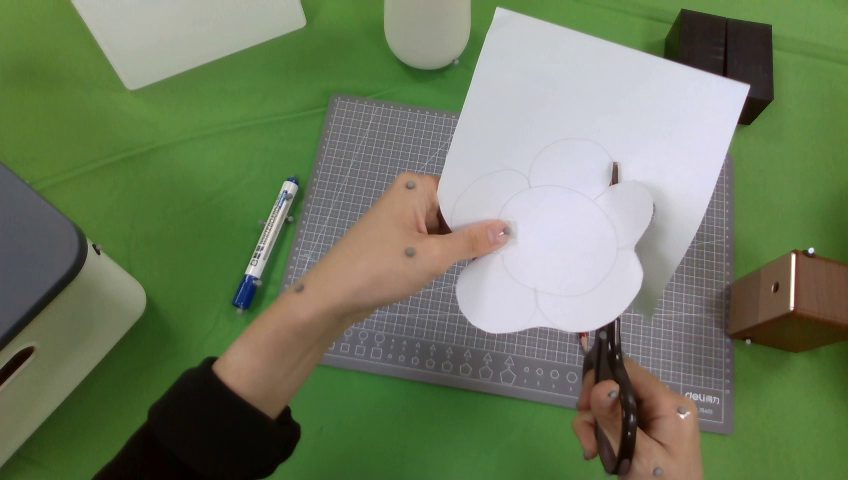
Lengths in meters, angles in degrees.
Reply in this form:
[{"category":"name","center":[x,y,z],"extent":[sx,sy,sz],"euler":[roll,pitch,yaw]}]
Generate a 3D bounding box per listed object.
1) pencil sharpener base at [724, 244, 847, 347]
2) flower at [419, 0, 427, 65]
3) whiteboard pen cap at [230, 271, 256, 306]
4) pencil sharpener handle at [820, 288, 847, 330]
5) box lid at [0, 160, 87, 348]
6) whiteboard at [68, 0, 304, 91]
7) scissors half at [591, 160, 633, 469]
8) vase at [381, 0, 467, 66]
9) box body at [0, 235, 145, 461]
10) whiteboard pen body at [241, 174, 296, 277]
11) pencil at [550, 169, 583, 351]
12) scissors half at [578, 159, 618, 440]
[{"category":"pencil sharpener base","center":[0.340,0.055,0.557],"extent":[0.077,0.107,0.061],"euler":[13,70,1]},{"category":"flower","center":[-0.005,-0.313,0.546],"extent":[0.044,0.365,0.038],"euler":[2,52,4]},{"category":"whiteboard pen cap","center":[-0.176,0.047,0.594],"extent":[0.018,0.018,0.033],"euler":[15,66,5]},{"category":"pencil sharpener handle","center":[0.390,0.064,0.545],"extent":[0.030,0.068,0.036],"euler":[13,64,1]},{"category":"box lid","center":[-0.469,-0.006,0.454],"extent":[0.370,0.015,0.262],"euler":[35,73,11]},{"category":"whiteboard","center":[-0.285,-0.351,0.618],"extent":[0.217,0.308,0.142],"euler":[-24,53,-9]},{"category":"scissors half","center":[0.106,0.042,0.342],"extent":[0.013,0.040,0.175],"euler":[0,87,-5]},{"category":"vase","center":[-0.001,-0.271,0.619],"extent":[0.098,0.201,0.097],"euler":[0,69,0]},{"category":"box body","center":[-0.468,0.021,0.524],"extent":[0.362,0.161,0.253],"euler":[35,73,11]},{"category":"whiteboard pen body","center":[-0.161,-0.006,0.616],"extent":[0.017,0.017,0.140],"euler":[16,69,5]},{"category":"pencil","center":[0.146,0.017,0.617],"extent":[0.012,0.012,0.193],"euler":[-4,72,-2]},{"category":"scissors half","center":[0.106,0.039,0.363],"extent":[0.013,0.040,0.176],"euler":[1,108,0]}]
